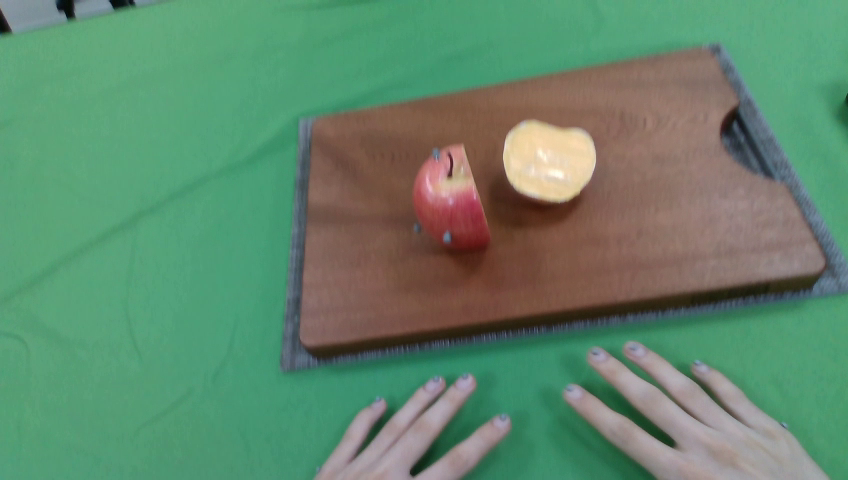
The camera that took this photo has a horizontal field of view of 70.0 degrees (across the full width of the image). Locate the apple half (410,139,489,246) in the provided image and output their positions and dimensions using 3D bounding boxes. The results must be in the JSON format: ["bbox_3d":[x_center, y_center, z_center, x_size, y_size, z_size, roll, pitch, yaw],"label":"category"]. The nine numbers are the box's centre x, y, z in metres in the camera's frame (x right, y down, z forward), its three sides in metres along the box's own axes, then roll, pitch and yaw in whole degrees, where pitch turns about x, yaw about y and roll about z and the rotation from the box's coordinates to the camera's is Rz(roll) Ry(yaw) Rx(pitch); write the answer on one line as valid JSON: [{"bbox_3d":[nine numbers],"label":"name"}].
[{"bbox_3d":[0.017,-0.032,0.480,0.053,0.075,0.080,-18,58,5],"label":"apple half"}]

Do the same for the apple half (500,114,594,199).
[{"bbox_3d":[0.100,-0.065,0.510,0.081,0.033,0.080,-1,68,2],"label":"apple half"}]
